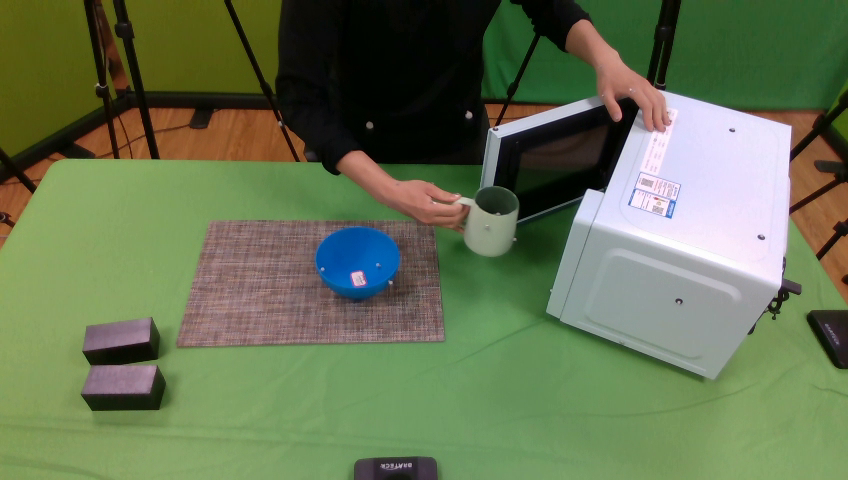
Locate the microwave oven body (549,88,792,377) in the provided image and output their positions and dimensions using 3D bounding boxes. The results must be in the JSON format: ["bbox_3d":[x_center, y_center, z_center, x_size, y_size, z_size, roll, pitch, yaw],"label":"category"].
[{"bbox_3d":[0.456,-0.028,1.088,0.325,0.261,0.440,20,47,16],"label":"microwave oven body"}]

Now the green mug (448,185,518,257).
[{"bbox_3d":[0.103,-0.037,1.069,0.125,0.105,0.092,15,46,9],"label":"green mug"}]

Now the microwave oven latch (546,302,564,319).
[{"bbox_3d":[0.242,0.102,1.081,0.030,0.029,0.079,22,48,17],"label":"microwave oven latch"}]

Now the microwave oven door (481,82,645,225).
[{"bbox_3d":[0.269,-0.160,1.193,0.356,0.245,0.039,-21,50,-22],"label":"microwave oven door"}]

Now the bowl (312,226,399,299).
[{"bbox_3d":[-0.121,0.054,1.091,0.151,0.077,0.150,2,46,-2],"label":"bowl"}]
